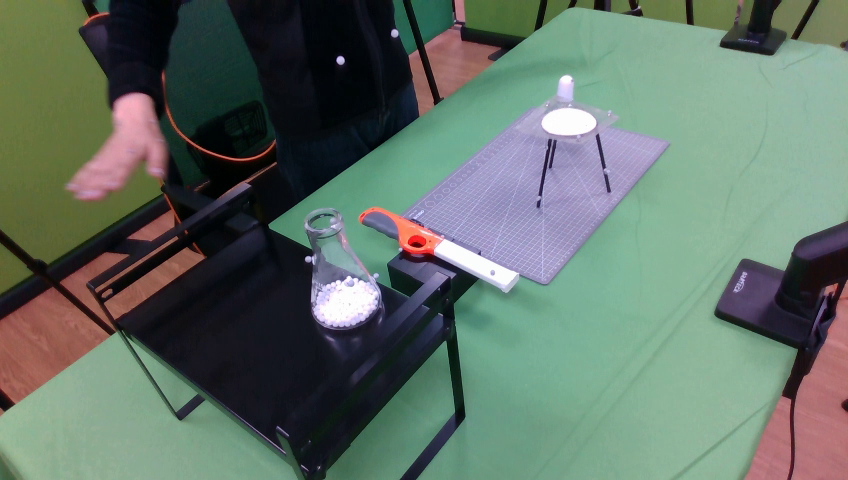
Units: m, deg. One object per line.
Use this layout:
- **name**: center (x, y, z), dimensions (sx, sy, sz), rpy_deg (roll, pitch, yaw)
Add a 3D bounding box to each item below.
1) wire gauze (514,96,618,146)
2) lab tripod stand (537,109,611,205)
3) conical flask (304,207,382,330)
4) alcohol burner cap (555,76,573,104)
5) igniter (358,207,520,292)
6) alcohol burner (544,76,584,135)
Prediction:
- **wire gauze**: center (0.229, -0.190, 0.969), dimensions (0.120, 0.011, 0.125), rpy_deg (26, 50, 33)
- **lab tripod stand**: center (0.244, -0.141, 1.014), dimensions (0.148, 0.132, 0.147), rpy_deg (-3, 39, 3)
- **conical flask**: center (-0.088, 0.025, 0.601), dimensions (0.075, 0.122, 0.075), rpy_deg (-5, 40, 5)
- **alcohol burner cap**: center (0.266, -0.284, 1.139), dimensions (0.034, 0.048, 0.033), rpy_deg (-1, 34, 1)
- **igniter**: center (0.014, 0.008, 0.886), dimensions (0.274, 0.025, 0.057), rpy_deg (25, 52, 29)
- **alcohol burner**: center (0.269, -0.256, 1.161), dimensions (0.078, 0.119, 0.077), rpy_deg (-5, 38, 5)
